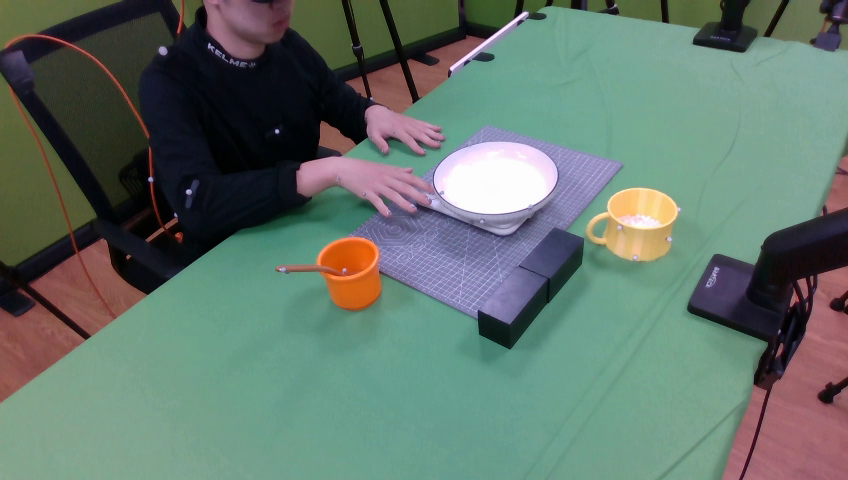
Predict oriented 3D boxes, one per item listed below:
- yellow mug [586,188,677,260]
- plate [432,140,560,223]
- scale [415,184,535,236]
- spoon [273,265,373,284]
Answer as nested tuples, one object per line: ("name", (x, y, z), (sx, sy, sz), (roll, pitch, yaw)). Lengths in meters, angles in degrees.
("yellow mug", (0.311, -0.022, 0.916), (0.131, 0.064, 0.099), (-8, 40, 0))
("plate", (0.118, -0.094, 0.999), (0.209, 0.038, 0.208), (-5, 41, 4))
("scale", (0.099, -0.080, 1.035), (0.199, 0.032, 0.149), (23, 48, 31))
("spoon", (-0.137, 0.045, 0.839), (0.041, 0.195, 0.021), (18, 91, 33))
